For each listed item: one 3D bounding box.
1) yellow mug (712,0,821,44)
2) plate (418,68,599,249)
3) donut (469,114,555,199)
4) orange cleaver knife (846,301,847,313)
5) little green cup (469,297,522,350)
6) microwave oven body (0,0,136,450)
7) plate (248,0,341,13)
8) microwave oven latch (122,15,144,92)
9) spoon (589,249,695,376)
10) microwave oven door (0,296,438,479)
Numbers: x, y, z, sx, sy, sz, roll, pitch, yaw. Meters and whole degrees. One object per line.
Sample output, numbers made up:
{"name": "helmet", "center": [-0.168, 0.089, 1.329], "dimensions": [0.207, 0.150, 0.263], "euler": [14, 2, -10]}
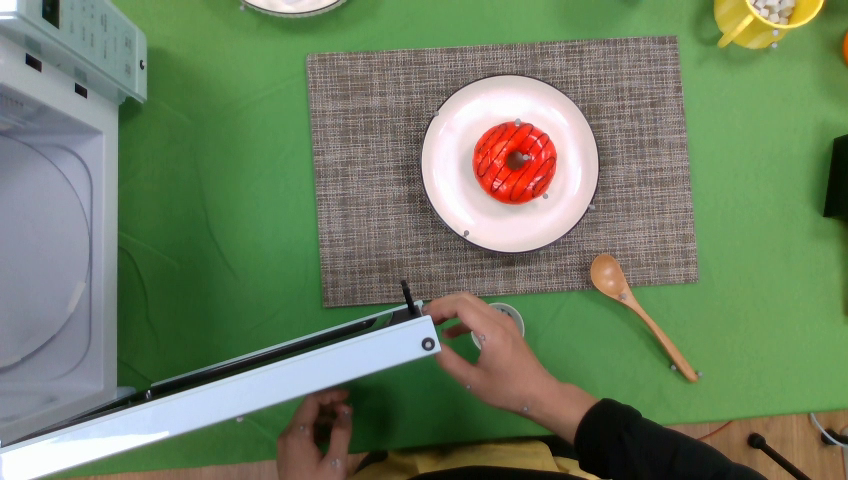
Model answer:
{"name": "yellow mug", "center": [0.394, -0.282, 0.715], "dimensions": [0.100, 0.064, 0.131], "euler": [44, 88, 0]}
{"name": "plate", "center": [0.096, -0.093, 0.706], "dimensions": [0.209, 0.038, 0.209], "euler": [0, 88, -2]}
{"name": "donut", "center": [0.101, -0.096, 0.695], "dimensions": [0.099, 0.048, 0.099], "euler": [0, 89, 0]}
{"name": "orange cleaver knife", "center": [0.537, -0.012, 0.703], "dimensions": [0.012, 0.076, 0.212], "euler": [11, 117, 1]}
{"name": "little green cup", "center": [0.081, 0.096, 0.702], "dimensions": [0.061, 0.038, 0.061], "euler": [0, 85, -2]}
{"name": "microwave oven body", "center": [-0.473, -0.034, 0.570], "dimensions": [0.326, 0.260, 0.441], "euler": [-1, 88, -3]}
{"name": "plate", "center": [-0.152, -0.364, 0.710], "dimensions": [0.208, 0.039, 0.207], "euler": [0, 88, -2]}
{"name": "microwave oven latch", "center": [-0.331, -0.208, 0.678], "dimensions": [0.030, 0.029, 0.079], "euler": [1, 89, -3]}
{"name": "spoon", "center": [0.259, 0.089, 0.715], "dimensions": [0.041, 0.021, 0.194], "euler": [-41, 91, -19]}
{"name": "microwave oven door", "center": [-0.163, 0.126, 0.572], "dimensions": [0.356, 0.244, 0.039], "euler": [-17, 87, -3]}
